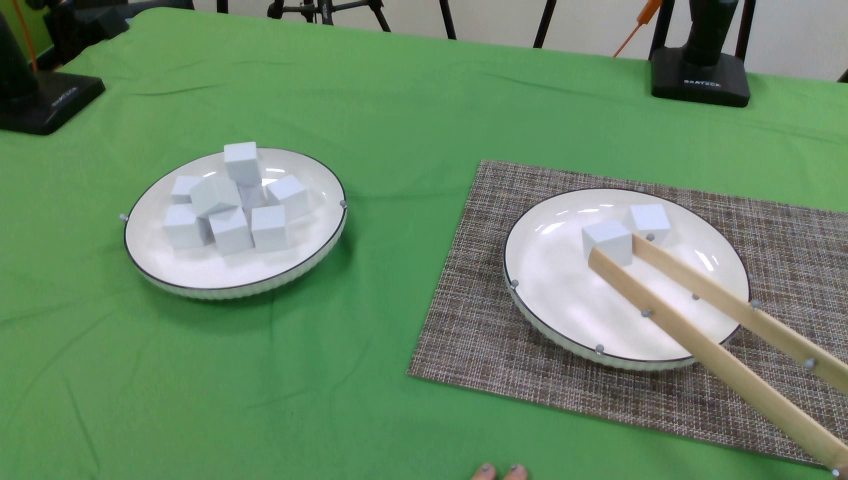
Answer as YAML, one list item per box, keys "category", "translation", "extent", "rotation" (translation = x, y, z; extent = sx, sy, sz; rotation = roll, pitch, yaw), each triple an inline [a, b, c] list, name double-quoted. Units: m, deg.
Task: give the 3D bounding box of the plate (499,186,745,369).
- category: "plate"
  translation: [0.170, 0.031, 0.541]
  extent: [0.208, 0.039, 0.205]
  rotation: [0, 44, 1]

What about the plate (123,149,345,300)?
- category: "plate"
  translation: [-0.181, -0.016, 0.599]
  extent: [0.209, 0.038, 0.207]
  rotation: [0, 44, 0]

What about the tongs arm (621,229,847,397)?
- category: "tongs arm"
  translation: [0.271, 0.105, 0.396]
  extent: [0.051, 0.027, 0.380]
  rotation: [-31, 49, -25]

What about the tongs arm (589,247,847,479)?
- category: "tongs arm"
  translation: [0.250, 0.116, 0.387]
  extent: [0.028, 0.028, 0.383]
  rotation: [-26, 47, -25]
